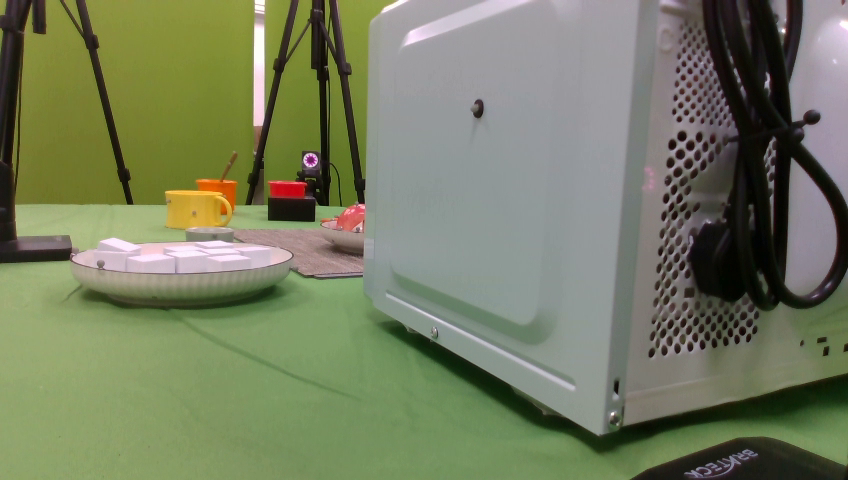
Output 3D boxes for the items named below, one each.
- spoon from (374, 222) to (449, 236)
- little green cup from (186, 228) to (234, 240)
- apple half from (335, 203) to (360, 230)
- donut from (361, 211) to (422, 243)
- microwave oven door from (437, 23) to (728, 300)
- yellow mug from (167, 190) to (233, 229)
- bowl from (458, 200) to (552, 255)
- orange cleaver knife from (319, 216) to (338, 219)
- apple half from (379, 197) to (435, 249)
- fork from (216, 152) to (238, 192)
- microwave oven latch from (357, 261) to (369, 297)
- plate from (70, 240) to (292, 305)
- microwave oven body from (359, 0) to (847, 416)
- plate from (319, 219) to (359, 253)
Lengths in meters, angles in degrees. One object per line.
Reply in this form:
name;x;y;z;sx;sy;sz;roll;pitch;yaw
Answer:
spoon;-0.029;-0.026;1.178;0.193;0.021;0.042;9;25;42
little green cup;-0.284;0.005;0.805;0.061;0.038;0.061;2;8;0
apple half;-0.116;-0.038;0.959;0.081;0.033;0.081;-38;8;7
donut;-0.051;-0.020;0.958;0.099;0.048;0.099;4;7;0
microwave oven door;0.181;-0.072;0.621;0.358;0.243;0.039;-2;9;-29
yellow mug;-0.415;-0.057;1.132;0.130;0.064;0.100;6;8;16
bowl;0.128;-0.020;0.977;0.151;0.077;0.151;3;7;0
orange cleaver knife;-0.142;-0.057;1.395;0.077;0.012;0.212;2;7;44
apple half;-0.020;-0.030;0.891;0.081;0.053;0.074;-2;49;-26
fork;-0.455;-0.132;1.367;0.028;0.018;0.207;-3;-35;-38
microwave oven latch;-0.019;0.033;0.531;0.079;0.029;0.030;-1;7;-27
plate;-0.242;0.032;0.618;0.208;0.039;0.207;2;8;0
microwave oven body;0.211;-0.047;0.474;0.444;0.260;0.324;-1;7;-28
plate;-0.059;-0.007;0.939;0.209;0.038;0.209;3;8;0
